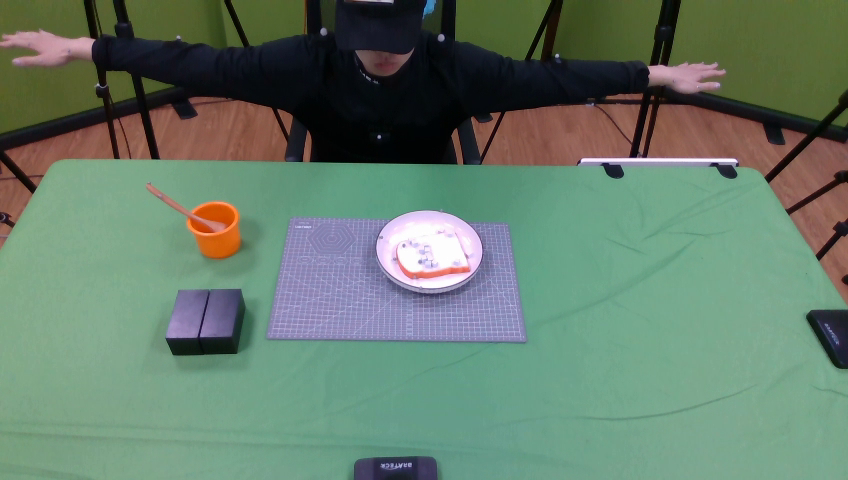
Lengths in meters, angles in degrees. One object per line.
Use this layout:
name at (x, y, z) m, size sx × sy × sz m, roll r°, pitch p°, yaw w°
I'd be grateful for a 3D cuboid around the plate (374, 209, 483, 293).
plate at (0.009, 0.024, 1.160) m, size 0.209 × 0.038 × 0.208 m, roll 2°, pitch 46°, yaw -2°

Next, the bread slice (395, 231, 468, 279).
bread slice at (0.011, 0.030, 1.158) m, size 0.132 × 0.019 × 0.104 m, roll -8°, pitch 47°, yaw -14°

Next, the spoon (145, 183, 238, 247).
spoon at (-0.424, -0.045, 1.114) m, size 0.195 × 0.021 × 0.041 m, roll 34°, pitch 40°, yaw -28°
